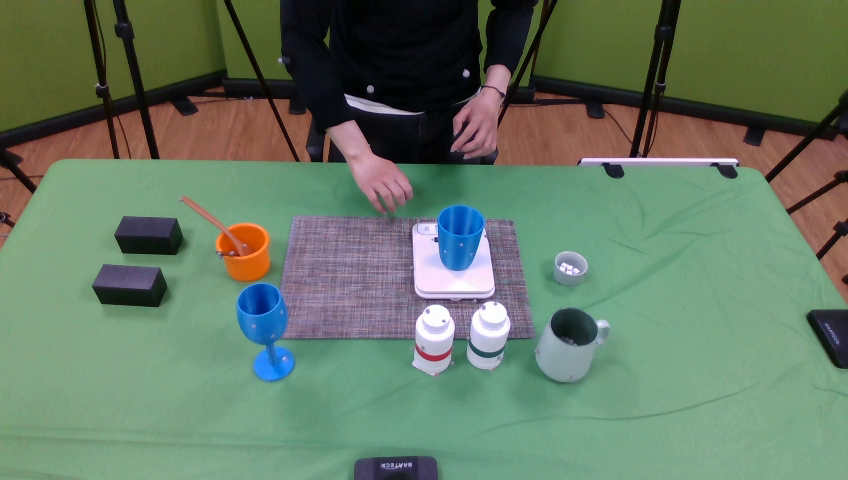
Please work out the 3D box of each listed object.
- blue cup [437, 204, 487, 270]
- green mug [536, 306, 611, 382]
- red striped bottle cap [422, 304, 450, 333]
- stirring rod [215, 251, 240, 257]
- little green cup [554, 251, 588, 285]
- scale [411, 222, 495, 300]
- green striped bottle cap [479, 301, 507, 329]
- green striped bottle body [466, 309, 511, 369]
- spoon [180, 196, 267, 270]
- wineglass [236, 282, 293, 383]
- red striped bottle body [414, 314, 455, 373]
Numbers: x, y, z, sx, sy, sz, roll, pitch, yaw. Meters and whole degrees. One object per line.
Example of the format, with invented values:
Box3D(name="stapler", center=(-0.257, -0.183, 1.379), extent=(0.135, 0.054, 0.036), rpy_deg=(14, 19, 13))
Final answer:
Box3D(name="blue cup", center=(0.062, 0.000, 1.097), extent=(0.093, 0.101, 0.092), rpy_deg=(2, 44, -2))
Box3D(name="green mug", center=(0.250, 0.167, 0.996), extent=(0.125, 0.105, 0.092), rpy_deg=(-15, 48, -19))
Box3D(name="red striped bottle cap", center=(0.018, 0.121, 0.939), extent=(0.044, 0.018, 0.044), rpy_deg=(0, 48, 0))
Box3D(name="stirring rod", center=(-0.339, 0.024, 1.059), extent=(0.014, 0.176, 0.006), rpy_deg=(16, 86, -6))
Box3D(name="little green cup", center=(0.276, 0.055, 1.151), extent=(0.061, 0.039, 0.061), rpy_deg=(1, 46, -1))
Box3D(name="scale", center=(0.052, 0.031, 1.158), extent=(0.149, 0.032, 0.199), rpy_deg=(1, 46, -4))
Box3D(name="green striped bottle cap", center=(0.109, 0.118, 0.950), extent=(0.044, 0.020, 0.044), rpy_deg=(2, 47, -2))
Box3D(name="green striped bottle body", center=(0.105, 0.154, 0.988), extent=(0.063, 0.120, 0.063), rpy_deg=(2, 46, -2))
Box3D(name="spoon", center=(-0.360, -0.014, 1.094), extent=(0.021, 0.194, 0.041), rpy_deg=(-27, 26, 31))
Box3D(name="wineglass", center=(-0.243, 0.143, 0.934), extent=(0.074, 0.173, 0.073), rpy_deg=(2, 46, -2))
Box3D(name="red striped bottle body", center=(0.016, 0.158, 0.977), extent=(0.063, 0.120, 0.062), rpy_deg=(2, 46, -2))
